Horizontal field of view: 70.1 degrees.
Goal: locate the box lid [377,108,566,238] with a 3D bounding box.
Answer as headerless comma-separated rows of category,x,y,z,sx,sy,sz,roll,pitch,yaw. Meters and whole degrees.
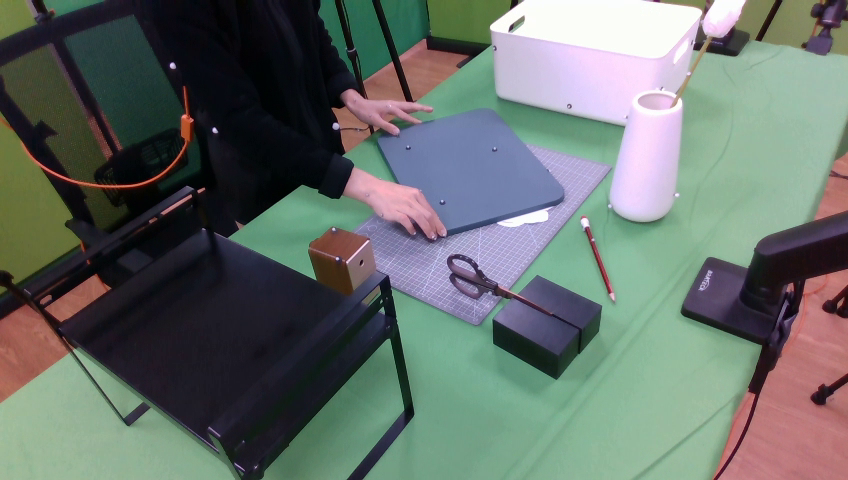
box lid,0.074,-0.141,1.136,0.264,0.015,0.368,-16,40,-10

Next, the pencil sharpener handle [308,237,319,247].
pencil sharpener handle,-0.158,0.017,0.892,0.030,0.068,0.036,18,61,28

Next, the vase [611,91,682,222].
vase,0.348,-0.125,0.935,0.098,0.201,0.097,-3,40,3

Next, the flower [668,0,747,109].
flower,0.355,-0.187,0.880,0.038,0.362,0.044,30,48,14

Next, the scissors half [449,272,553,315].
scissors half,0.104,0.076,0.834,0.173,0.040,0.013,15,48,42

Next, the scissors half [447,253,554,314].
scissors half,0.101,0.060,0.821,0.174,0.040,0.013,29,50,29

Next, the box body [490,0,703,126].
box body,0.352,-0.384,1.268,0.361,0.161,0.255,21,48,29

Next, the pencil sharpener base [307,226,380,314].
pencil sharpener base,-0.116,0.043,0.875,0.076,0.107,0.061,18,47,27

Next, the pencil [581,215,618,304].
pencil,0.266,0.026,0.917,0.012,0.012,0.193,-6,42,1
